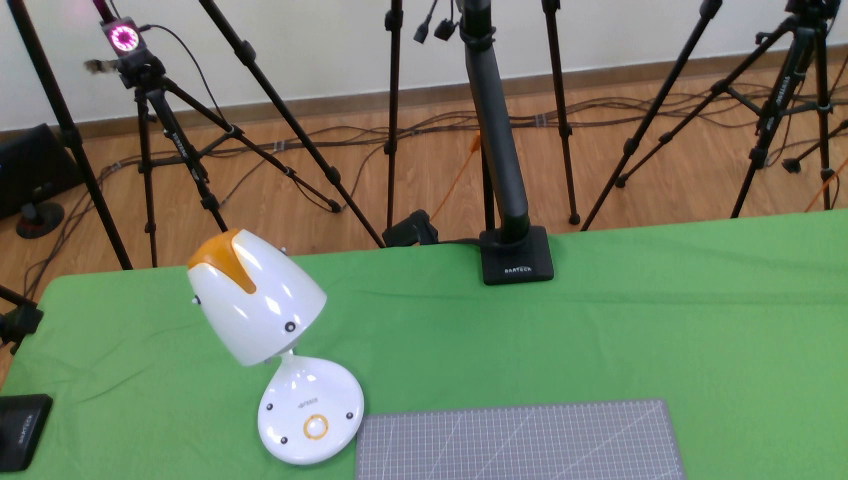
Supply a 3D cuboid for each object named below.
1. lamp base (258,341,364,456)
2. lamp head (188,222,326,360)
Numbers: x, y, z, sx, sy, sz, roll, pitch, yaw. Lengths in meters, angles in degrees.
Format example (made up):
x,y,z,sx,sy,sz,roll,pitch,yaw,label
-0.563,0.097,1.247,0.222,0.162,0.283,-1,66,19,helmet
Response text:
x,y,z,sx,sy,sz,roll,pitch,yaw,label
-0.186,0.192,0.861,0.161,0.182,0.177,-29,52,-14,lamp base
-0.179,0.042,0.618,0.112,0.123,0.112,-35,15,11,lamp head
